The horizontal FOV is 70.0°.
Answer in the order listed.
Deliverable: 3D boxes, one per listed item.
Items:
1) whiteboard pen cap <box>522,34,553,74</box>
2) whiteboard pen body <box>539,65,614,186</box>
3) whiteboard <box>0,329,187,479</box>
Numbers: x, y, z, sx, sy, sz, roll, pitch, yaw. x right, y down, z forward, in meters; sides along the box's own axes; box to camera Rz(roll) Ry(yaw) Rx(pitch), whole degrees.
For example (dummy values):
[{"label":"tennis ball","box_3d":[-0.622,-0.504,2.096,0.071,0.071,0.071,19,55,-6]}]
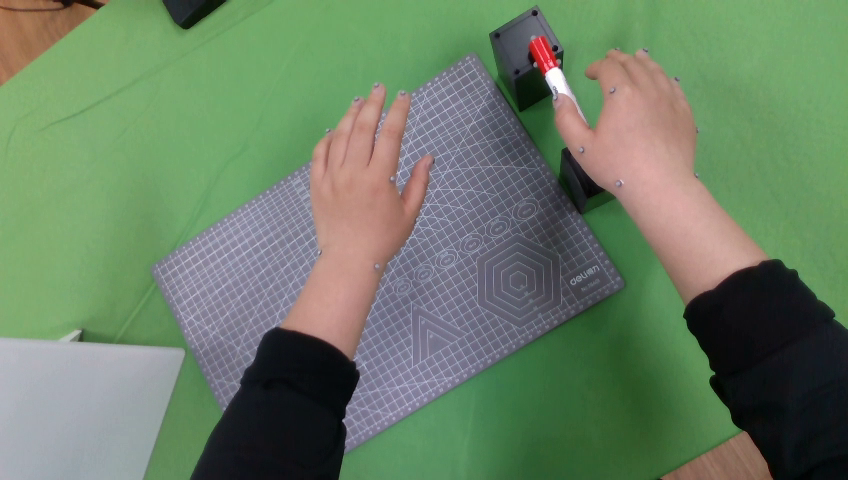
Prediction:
[{"label":"whiteboard pen cap","box_3d":[0.101,-0.165,0.538,0.017,0.017,0.032,-26,82,8]},{"label":"whiteboard pen body","box_3d":[0.128,-0.110,0.531,0.017,0.017,0.140,-27,80,8]},{"label":"whiteboard","box_3d":[-0.438,0.181,0.606,0.142,0.308,0.217,19,89,32]}]
